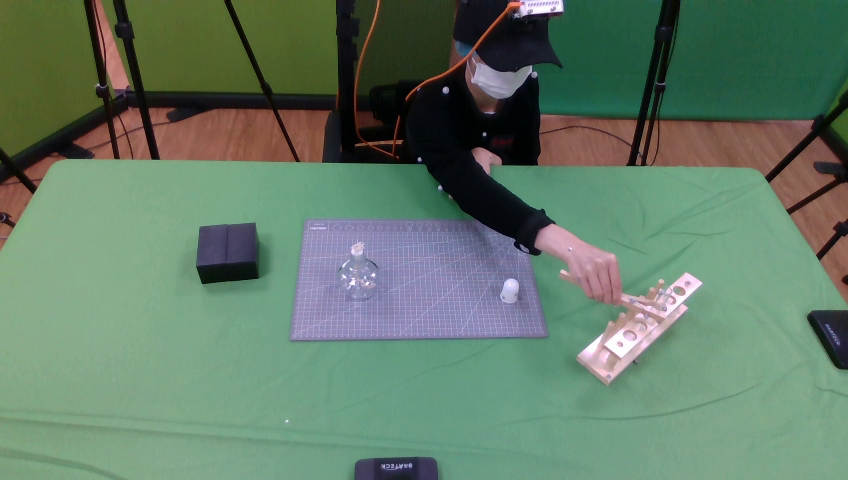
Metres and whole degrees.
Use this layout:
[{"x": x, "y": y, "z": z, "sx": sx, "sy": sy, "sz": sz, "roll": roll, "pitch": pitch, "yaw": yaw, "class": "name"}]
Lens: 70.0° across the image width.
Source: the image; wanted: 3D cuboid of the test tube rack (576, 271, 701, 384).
[{"x": 0.373, "y": 0.138, "z": 1.048, "sx": 0.242, "sy": 0.085, "sz": 0.066, "roll": -31, "pitch": 55, "yaw": -29, "class": "test tube rack"}]

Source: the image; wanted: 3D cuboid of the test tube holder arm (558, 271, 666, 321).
[{"x": 0.305, "y": 0.090, "z": 0.990, "sx": 0.178, "sy": 0.015, "sz": 0.013, "roll": 22, "pitch": 43, "yaw": 11, "class": "test tube holder arm"}]

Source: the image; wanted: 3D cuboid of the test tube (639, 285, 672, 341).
[{"x": 0.374, "y": 0.123, "z": 0.994, "sx": 0.017, "sy": 0.151, "sz": 0.017, "roll": 1, "pitch": 50, "yaw": -1, "class": "test tube"}]

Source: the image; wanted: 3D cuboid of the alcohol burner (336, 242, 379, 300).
[{"x": -0.118, "y": 0.050, "z": 1.072, "sx": 0.078, "sy": 0.120, "sz": 0.077, "roll": 2, "pitch": 44, "yaw": -1, "class": "alcohol burner"}]

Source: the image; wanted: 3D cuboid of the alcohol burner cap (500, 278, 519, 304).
[{"x": 0.157, "y": 0.090, "z": 1.104, "sx": 0.034, "sy": 0.048, "sz": 0.033, "roll": 2, "pitch": 46, "yaw": -2, "class": "alcohol burner cap"}]

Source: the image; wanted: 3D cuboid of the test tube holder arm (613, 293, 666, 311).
[{"x": 0.348, "y": 0.100, "z": 0.988, "sx": 0.088, "sy": 0.015, "sz": 0.010, "roll": 10, "pitch": 44, "yaw": -1, "class": "test tube holder arm"}]
